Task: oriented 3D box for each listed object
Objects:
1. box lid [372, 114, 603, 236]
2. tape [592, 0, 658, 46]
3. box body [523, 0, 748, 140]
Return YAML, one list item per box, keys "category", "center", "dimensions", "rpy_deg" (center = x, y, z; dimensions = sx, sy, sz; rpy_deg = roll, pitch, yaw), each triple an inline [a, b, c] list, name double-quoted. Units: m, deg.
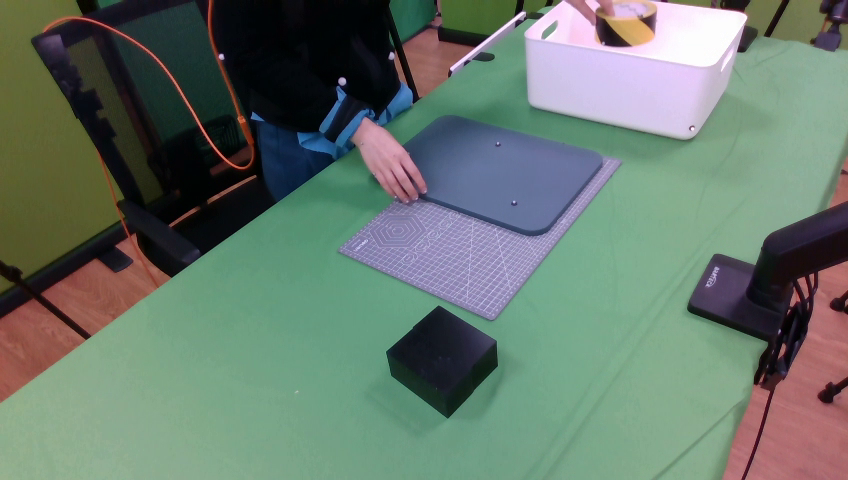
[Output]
- category: "box lid"
  center: [0.115, -0.133, 1.112]
  dimensions: [0.368, 0.015, 0.264]
  rpy_deg: [21, 48, 30]
- category: "tape"
  center: [0.368, -0.403, 1.114]
  dimensions: [0.117, 0.053, 0.116]
  rpy_deg: [-8, 36, 6]
- category: "box body"
  center: [0.412, -0.354, 1.212]
  dimensions: [0.361, 0.161, 0.254]
  rpy_deg: [20, 48, 29]
